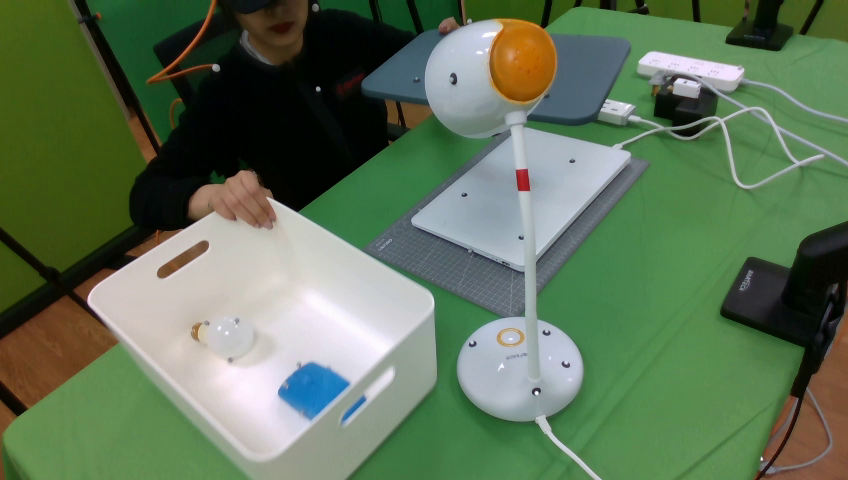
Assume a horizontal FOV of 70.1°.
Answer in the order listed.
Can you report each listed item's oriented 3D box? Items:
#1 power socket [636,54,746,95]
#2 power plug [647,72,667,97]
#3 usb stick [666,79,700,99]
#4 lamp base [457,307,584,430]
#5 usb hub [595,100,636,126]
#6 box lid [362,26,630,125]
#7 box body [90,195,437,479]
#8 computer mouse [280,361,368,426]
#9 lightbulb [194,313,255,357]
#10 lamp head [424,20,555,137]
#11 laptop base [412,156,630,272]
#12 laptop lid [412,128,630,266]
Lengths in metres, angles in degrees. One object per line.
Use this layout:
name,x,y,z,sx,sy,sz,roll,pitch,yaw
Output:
power socket,0.564,-0.357,1.293,0.225,0.033,0.072,24,51,33
power plug,0.493,-0.321,1.261,0.073,0.052,0.035,1,20,-41
usb stick,0.492,-0.288,1.152,0.058,0.027,0.021,20,50,34
lamp base,0.115,0.108,0.713,0.161,0.181,0.178,-17,42,-8
usb hub,0.360,-0.264,1.228,0.124,0.025,0.049,24,49,33
box lid,0.114,-0.267,0.945,0.369,0.015,0.263,13,45,23
box body,-0.187,0.124,0.754,0.361,0.161,0.255,27,52,32
computer mouse,-0.127,0.193,0.752,0.116,0.041,0.063,23,53,36
lightbulb,-0.281,0.130,0.837,0.107,0.060,0.059,0,38,36
lamp head,0.069,-0.153,0.572,0.113,0.112,0.122,-21,16,-14
laptop base,0.176,-0.083,1.055,0.233,0.023,0.355,21,48,36
laptop lid,0.173,-0.093,1.049,0.239,0.013,0.358,23,50,36
